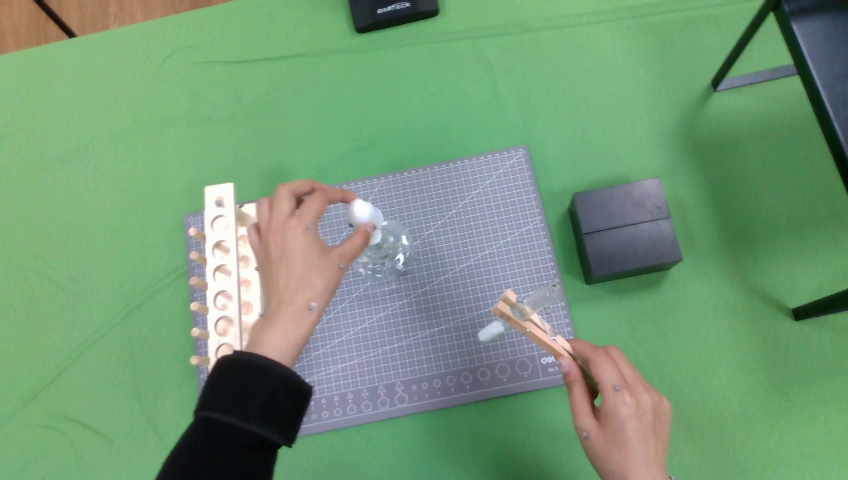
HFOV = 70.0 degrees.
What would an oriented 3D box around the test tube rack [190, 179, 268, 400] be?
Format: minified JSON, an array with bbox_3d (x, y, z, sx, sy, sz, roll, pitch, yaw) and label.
[{"bbox_3d":[-0.234,0.059,0.706,0.067,0.085,0.241,-8,75,2],"label":"test tube rack"}]

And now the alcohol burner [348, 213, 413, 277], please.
[{"bbox_3d":[-0.052,0.002,0.693,0.078,0.120,0.077,-1,77,5],"label":"alcohol burner"}]

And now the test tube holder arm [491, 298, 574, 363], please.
[{"bbox_3d":[0.098,0.082,0.543,0.088,0.015,0.010,35,64,-4],"label":"test tube holder arm"}]

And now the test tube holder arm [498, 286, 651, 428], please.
[{"bbox_3d":[0.136,0.106,0.547,0.178,0.015,0.013,42,65,0],"label":"test tube holder arm"}]

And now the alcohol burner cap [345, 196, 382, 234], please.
[{"bbox_3d":[-0.063,-0.028,0.608,0.034,0.048,0.033,-2,74,7],"label":"alcohol burner cap"}]

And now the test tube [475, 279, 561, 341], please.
[{"bbox_3d":[0.080,0.067,0.550,0.017,0.150,0.017,8,65,-17],"label":"test tube"}]
